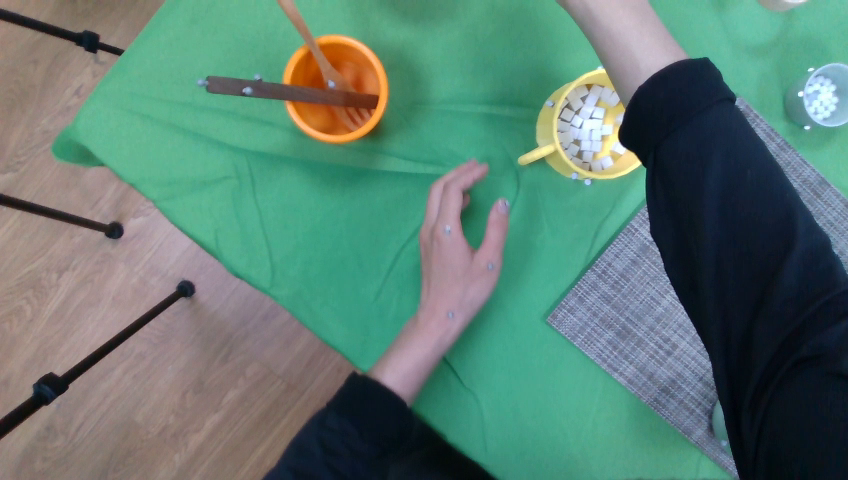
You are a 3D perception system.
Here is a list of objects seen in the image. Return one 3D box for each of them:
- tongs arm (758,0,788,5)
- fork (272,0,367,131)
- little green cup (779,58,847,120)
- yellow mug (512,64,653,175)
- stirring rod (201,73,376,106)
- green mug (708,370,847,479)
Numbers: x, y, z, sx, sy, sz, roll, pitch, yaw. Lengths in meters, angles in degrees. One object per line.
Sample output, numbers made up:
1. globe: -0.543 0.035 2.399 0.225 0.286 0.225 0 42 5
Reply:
1. tongs arm: 0.249 -0.393 0.539 0.051 0.026 0.385 -22 95 -4
2. fork: -0.103 -0.172 0.519 0.028 0.018 0.209 -35 140 -1
3. little green cup: 0.393 -0.149 0.609 0.061 0.038 0.061 0 97 -2
4. yellow mug: 0.146 -0.107 0.585 0.131 0.064 0.100 -25 98 1
5. stirring rod: -0.110 -0.130 0.530 0.177 0.006 0.014 -7 101 -45
6. green mug: 0.365 0.178 0.610 0.125 0.104 0.093 -34 97 1
